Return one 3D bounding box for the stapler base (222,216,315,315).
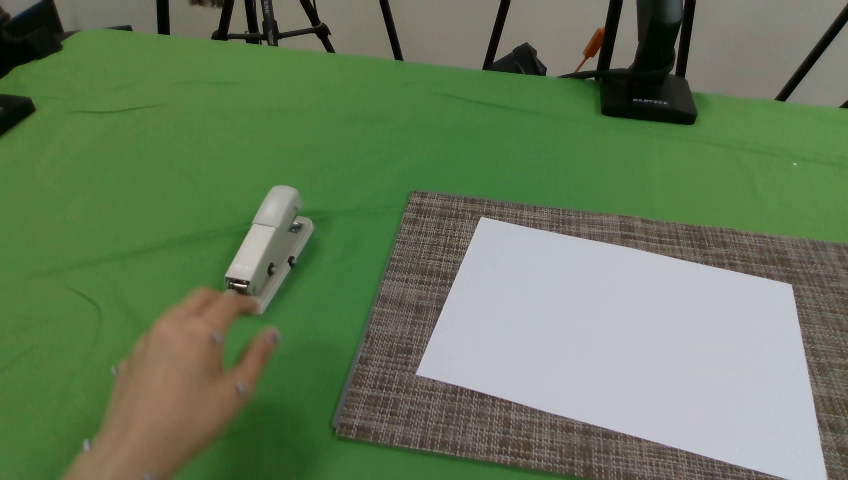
[{"bbox_3d":[-0.142,0.014,0.563,0.041,0.024,0.129,9,43,10],"label":"stapler base"}]

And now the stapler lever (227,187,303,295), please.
[{"bbox_3d":[-0.141,-0.003,0.546,0.027,0.040,0.117,9,42,10],"label":"stapler lever"}]
